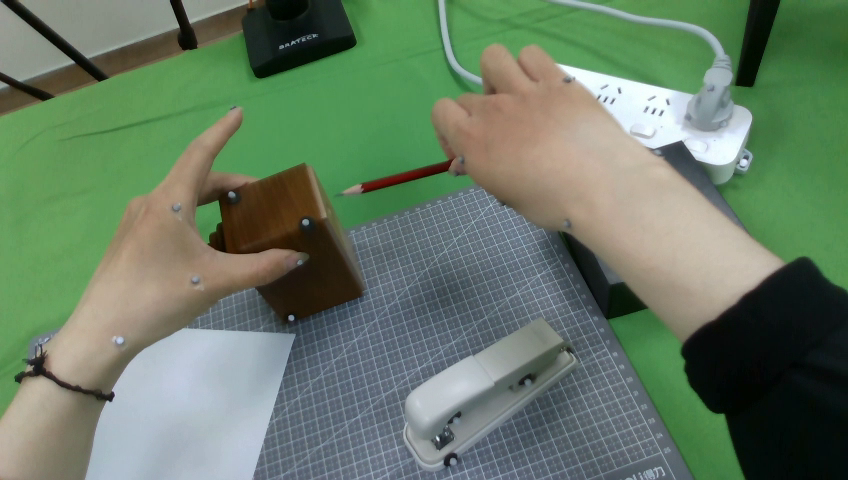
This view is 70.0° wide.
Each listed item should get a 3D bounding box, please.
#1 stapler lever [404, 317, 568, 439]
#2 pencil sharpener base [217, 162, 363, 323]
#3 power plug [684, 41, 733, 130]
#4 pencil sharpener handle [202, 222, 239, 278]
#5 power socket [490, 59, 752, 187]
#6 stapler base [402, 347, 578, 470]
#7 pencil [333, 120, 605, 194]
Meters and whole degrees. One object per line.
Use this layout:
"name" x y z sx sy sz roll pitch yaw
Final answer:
"stapler lever" 0.040 0.086 0.392 0.118 0.040 0.026 -32 56 -12
"pencil sharpener base" -0.100 0.006 0.457 0.077 0.108 0.060 -22 54 -3
"power plug" 0.239 -0.117 0.491 0.035 0.053 0.072 32 68 29
"pencil sharpener handle" -0.151 0.013 0.447 0.030 0.068 0.036 -22 75 -3
"power socket" 0.167 -0.107 0.529 0.225 0.033 0.072 22 62 25
"stapler base" 0.043 0.102 0.411 0.130 0.025 0.041 -32 56 -12
"pencil" 0.031 -0.056 0.421 0.194 0.012 0.012 -14 54 1
